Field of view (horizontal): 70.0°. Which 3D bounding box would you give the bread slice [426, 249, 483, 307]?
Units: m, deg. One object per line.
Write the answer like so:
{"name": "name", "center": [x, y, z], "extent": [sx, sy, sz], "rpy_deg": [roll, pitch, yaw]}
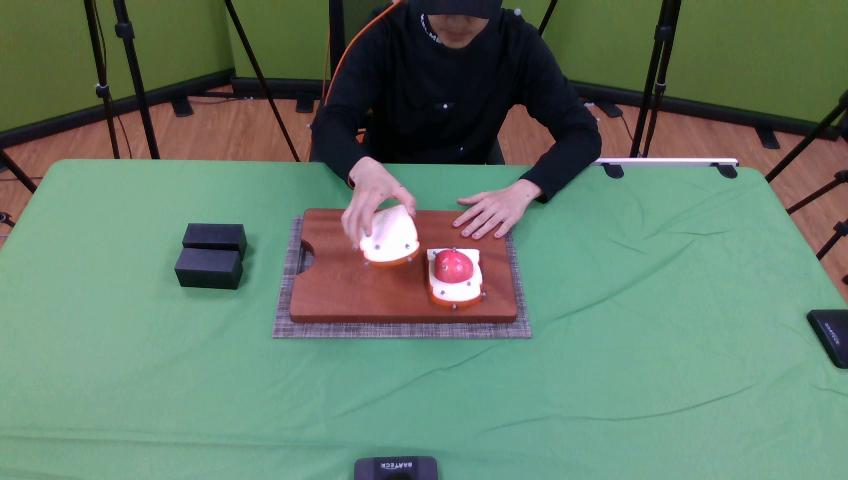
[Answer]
{"name": "bread slice", "center": [0.058, 0.066, 1.100], "extent": [0.105, 0.019, 0.130], "rpy_deg": [-1, 45, -3]}

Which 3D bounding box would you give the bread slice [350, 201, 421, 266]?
{"name": "bread slice", "center": [-0.058, -0.010, 1.026], "extent": [0.107, 0.018, 0.133], "rpy_deg": [-17, 45, -8]}

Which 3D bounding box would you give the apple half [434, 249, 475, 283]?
{"name": "apple half", "center": [0.055, 0.039, 1.092], "extent": [0.081, 0.033, 0.081], "rpy_deg": [1, 46, -1]}
